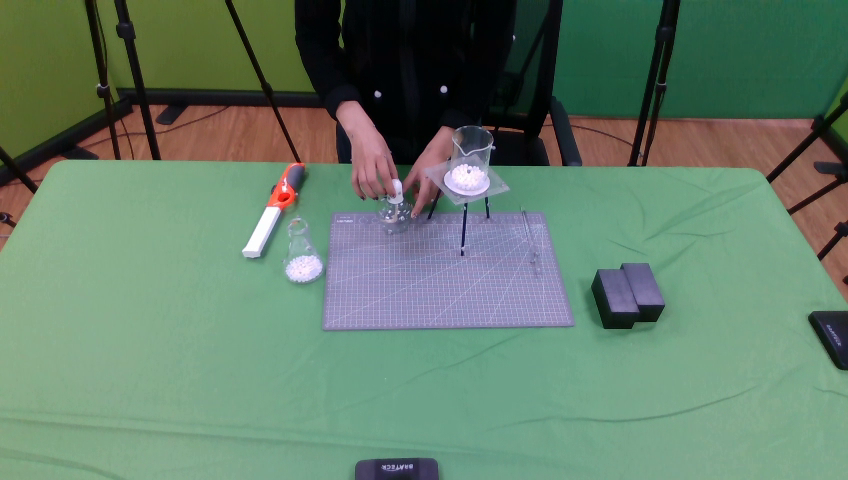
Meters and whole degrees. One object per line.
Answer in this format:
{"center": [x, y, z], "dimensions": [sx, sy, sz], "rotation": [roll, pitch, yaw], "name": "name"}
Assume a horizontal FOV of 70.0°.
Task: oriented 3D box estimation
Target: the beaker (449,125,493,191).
{"center": [0.083, -0.146, 1.108], "dimensions": [0.074, 0.101, 0.083], "rotation": [15, 47, 11], "name": "beaker"}

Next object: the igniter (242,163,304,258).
{"center": [-0.305, -0.069, 1.239], "dimensions": [0.057, 0.025, 0.275], "rotation": [2, 45, 12], "name": "igniter"}

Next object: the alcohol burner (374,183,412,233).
{"center": [-0.060, -0.071, 1.196], "dimensions": [0.078, 0.119, 0.077], "rotation": [3, 47, -3], "name": "alcohol burner"}

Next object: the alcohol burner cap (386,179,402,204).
{"center": [-0.059, -0.095, 1.170], "dimensions": [0.034, 0.048, 0.033], "rotation": [-1, 41, 1], "name": "alcohol burner cap"}

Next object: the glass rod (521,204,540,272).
{"center": [0.215, -0.008, 1.230], "dimensions": [0.008, 0.008, 0.198], "rotation": [0, 43, -3], "name": "glass rod"}

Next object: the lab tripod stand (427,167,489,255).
{"center": [0.076, -0.068, 1.191], "dimensions": [0.148, 0.132, 0.147], "rotation": [2, 44, -2], "name": "lab tripod stand"}

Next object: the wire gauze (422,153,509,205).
{"center": [0.078, -0.114, 1.144], "dimensions": [0.125, 0.011, 0.120], "rotation": [-21, 49, -20], "name": "wire gauze"}

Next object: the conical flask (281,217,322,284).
{"center": [-0.225, 0.016, 1.097], "dimensions": [0.075, 0.122, 0.075], "rotation": [3, 46, -2], "name": "conical flask"}
